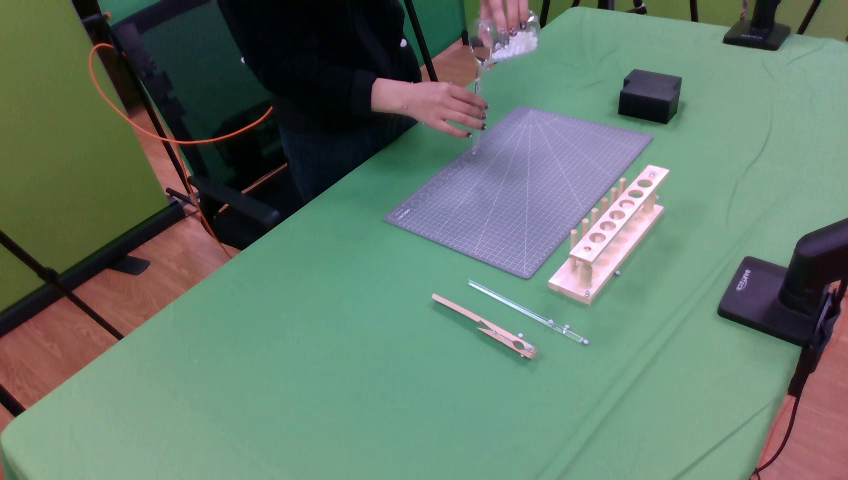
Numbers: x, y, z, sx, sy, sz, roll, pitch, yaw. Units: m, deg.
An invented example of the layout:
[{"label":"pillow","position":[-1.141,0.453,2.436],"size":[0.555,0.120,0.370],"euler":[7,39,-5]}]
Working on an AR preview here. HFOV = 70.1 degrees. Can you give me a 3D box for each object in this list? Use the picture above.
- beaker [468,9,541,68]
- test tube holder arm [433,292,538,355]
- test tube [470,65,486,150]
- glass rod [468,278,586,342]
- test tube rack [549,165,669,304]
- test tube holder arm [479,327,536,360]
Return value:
[{"label":"beaker","position":[0.134,-0.332,0.992],"size":[0.101,0.084,0.073],"euler":[-19,44,-17]},{"label":"test tube holder arm","position":[0.081,0.112,0.832],"size":[0.177,0.015,0.013],"euler":[28,82,36]},{"label":"test tube","position":[0.092,-0.226,1.043],"size":[0.017,0.150,0.017],"euler":[2,32,-1]},{"label":"glass rod","position":[0.140,0.096,0.853],"size":[0.198,0.008,0.008],"euler":[27,52,35]},{"label":"test tube rack","position":[0.279,-0.018,0.902],"size":[0.066,0.085,0.243],"euler":[24,50,33]},{"label":"test tube holder arm","position":[0.110,0.134,0.805],"size":[0.087,0.015,0.010],"euler":[29,83,36]}]
